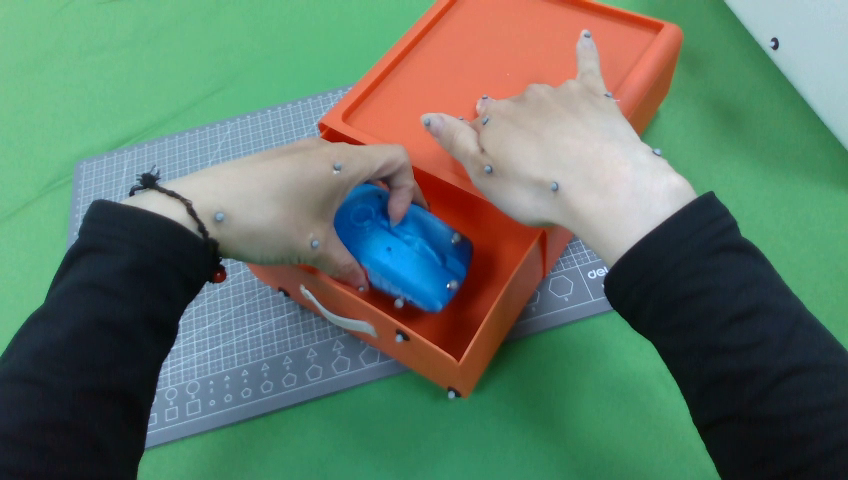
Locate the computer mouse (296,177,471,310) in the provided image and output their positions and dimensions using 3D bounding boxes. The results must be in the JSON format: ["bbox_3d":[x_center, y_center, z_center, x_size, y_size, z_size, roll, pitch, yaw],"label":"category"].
[{"bbox_3d":[-0.027,-0.001,0.413,0.117,0.041,0.062,25,58,9],"label":"computer mouse"}]

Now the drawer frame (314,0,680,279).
[{"bbox_3d":[0.058,-0.106,0.485,0.200,0.083,0.213,27,65,24],"label":"drawer frame"}]

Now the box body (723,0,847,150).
[{"bbox_3d":[0.398,-0.235,0.468,0.254,0.162,0.360,-15,57,-1],"label":"box body"}]

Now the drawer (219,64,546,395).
[{"bbox_3d":[-0.002,-0.026,0.444,0.193,0.074,0.211,25,64,24],"label":"drawer"}]
